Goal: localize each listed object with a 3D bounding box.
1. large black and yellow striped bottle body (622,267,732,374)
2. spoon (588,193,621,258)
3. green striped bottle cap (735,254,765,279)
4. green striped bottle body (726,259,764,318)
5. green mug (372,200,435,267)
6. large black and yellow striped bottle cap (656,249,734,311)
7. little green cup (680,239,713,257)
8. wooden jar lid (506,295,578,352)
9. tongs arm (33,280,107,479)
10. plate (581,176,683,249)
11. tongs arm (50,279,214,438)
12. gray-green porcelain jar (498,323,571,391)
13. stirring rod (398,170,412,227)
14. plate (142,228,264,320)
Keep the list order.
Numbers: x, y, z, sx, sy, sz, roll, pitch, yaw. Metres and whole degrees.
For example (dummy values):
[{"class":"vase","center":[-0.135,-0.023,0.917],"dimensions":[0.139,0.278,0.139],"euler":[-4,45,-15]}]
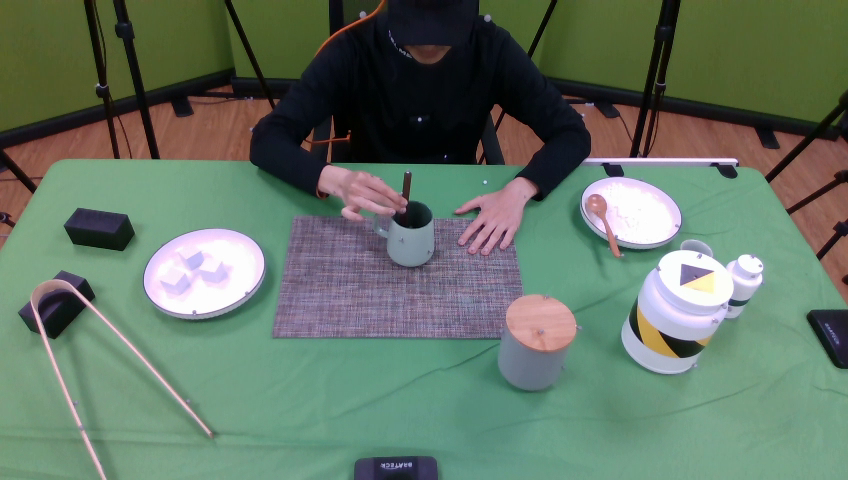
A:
[{"class":"large black and yellow striped bottle body","center":[0.415,0.119,0.997],"dimensions":[0.131,0.185,0.130],"euler":[2,46,-2]},{"class":"spoon","center":[0.367,-0.032,1.220],"dimensions":[0.041,0.022,0.192],"euler":[1,38,-1]},{"class":"green striped bottle cap","center":[0.566,0.046,1.051],"dimensions":[0.044,0.020,0.044],"euler":[0,45,0]},{"class":"green striped bottle body","center":[0.563,0.081,1.089],"dimensions":[0.063,0.120,0.063],"euler":[2,46,-2]},{"class":"green mug","center":[-0.040,-0.015,1.146],"dimensions":[0.125,0.105,0.092],"euler":[17,48,13]},{"class":"large black and yellow striped bottle cap","center":[0.419,0.061,0.938],"dimensions":[0.115,0.019,0.114],"euler":[2,47,-2]},{"class":"little green cup","center":[0.530,0.033,1.189],"dimensions":[0.061,0.039,0.061],"euler":[3,48,-3]},{"class":"wooden jar lid","center":[0.179,0.130,0.925],"dimensions":[0.108,0.021,0.107],"euler":[2,43,-2]},{"class":"tongs arm","center":[-0.517,0.214,0.909],"dimensions":[0.051,0.026,0.383],"euler":[-29,63,-27]},{"class":"plate","center":[0.430,-0.054,1.267],"dimensions":[0.209,0.038,0.208],"euler":[2,46,-2]},{"class":"tongs arm","center":[-0.459,0.178,0.949],"dimensions":[0.386,0.028,0.028],"euler":[37,60,17]},{"class":"gray-green porcelain jar","center":[0.176,0.172,0.971],"dimensions":[0.106,0.127,0.105],"euler":[2,46,-2]},{"class":"stirring rod","center":[-0.038,-0.057,1.116],"dimensions":[0.014,0.177,0.006],"euler":[2,44,-8]},{"class":"plate","center":[-0.394,0.064,1.095],"dimensions":[0.208,0.039,0.206],"euler":[2,46,-2]}]
